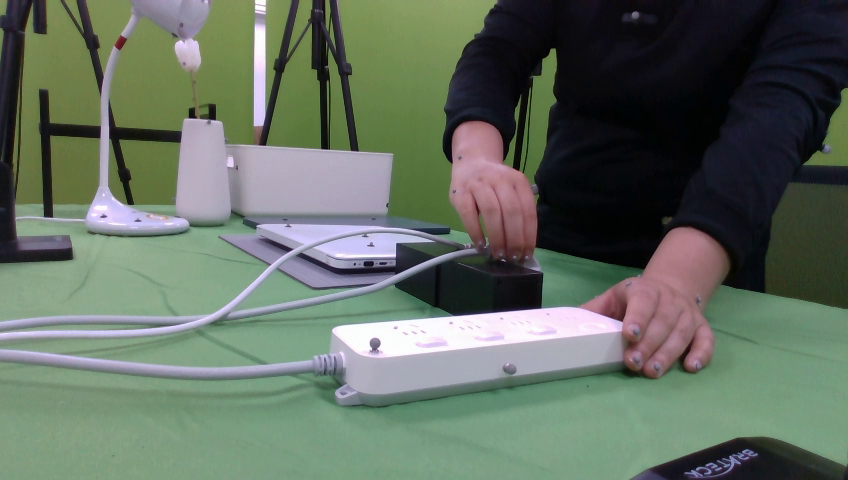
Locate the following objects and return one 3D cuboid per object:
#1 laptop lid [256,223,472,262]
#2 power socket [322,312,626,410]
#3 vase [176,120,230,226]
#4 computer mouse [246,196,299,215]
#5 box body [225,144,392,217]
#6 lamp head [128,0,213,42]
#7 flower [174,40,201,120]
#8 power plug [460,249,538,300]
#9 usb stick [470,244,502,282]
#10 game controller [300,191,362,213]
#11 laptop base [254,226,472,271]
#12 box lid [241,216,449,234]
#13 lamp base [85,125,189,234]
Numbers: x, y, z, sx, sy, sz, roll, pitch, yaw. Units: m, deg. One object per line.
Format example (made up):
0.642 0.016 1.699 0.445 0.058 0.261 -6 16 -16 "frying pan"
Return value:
-0.093 0.000 0.911 0.243 0.013 0.355 1 7 -30 "laptop lid"
0.040 0.076 0.410 0.228 0.032 0.072 -1 7 -27 "power socket"
-0.425 -0.128 1.159 0.098 0.200 0.098 2 9 0 "vase"
-0.355 -0.082 1.417 0.117 0.041 0.063 1 9 7 "computer mouse"
-0.289 -0.143 1.474 0.366 0.160 0.253 -1 9 -29 "box body"
-0.423 -0.394 0.980 0.123 0.112 0.112 20 7 -3 "lamp head"
-0.430 -0.211 1.165 0.044 0.361 0.038 -10 -5 -22 "flower"
0.074 0.035 0.587 0.072 0.052 0.035 -3 10 9 "power plug"
0.080 0.029 0.672 0.059 0.021 0.027 27 23 -28 "usb stick"
-0.241 -0.098 1.550 0.155 0.051 0.097 3 9 5 "game controller"
-0.096 0.012 0.912 0.237 0.023 0.352 2 7 -32 "laptop base"
-0.162 -0.030 1.233 0.373 0.015 0.262 -1 8 -32 "box lid"
-0.498 -0.105 1.026 0.179 0.180 0.160 1 7 3 "lamp base"
